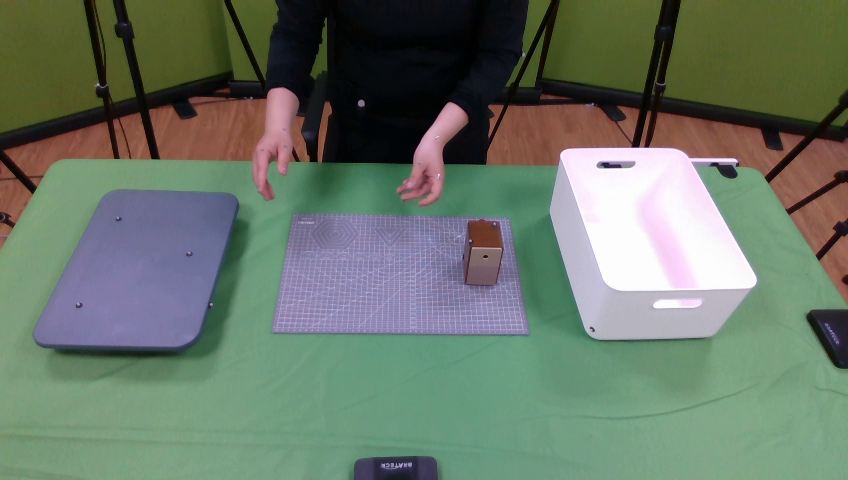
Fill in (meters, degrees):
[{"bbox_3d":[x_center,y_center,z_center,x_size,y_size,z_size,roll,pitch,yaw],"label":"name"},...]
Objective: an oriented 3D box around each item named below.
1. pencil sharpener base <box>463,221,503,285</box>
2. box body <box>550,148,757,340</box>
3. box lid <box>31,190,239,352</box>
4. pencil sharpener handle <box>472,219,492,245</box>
[{"bbox_3d":[0.107,0.024,1.119,0.061,0.107,0.076,1,45,-2],"label":"pencil sharpener base"},{"bbox_3d":[0.395,0.003,1.127,0.254,0.161,0.361,-1,46,-5],"label":"box body"},{"bbox_3d":[-0.491,0.040,1.070,0.263,0.015,0.369,1,46,-3],"label":"box lid"},{"bbox_3d":[0.104,-0.021,1.145,0.036,0.068,0.030,7,45,-8],"label":"pencil sharpener handle"}]
